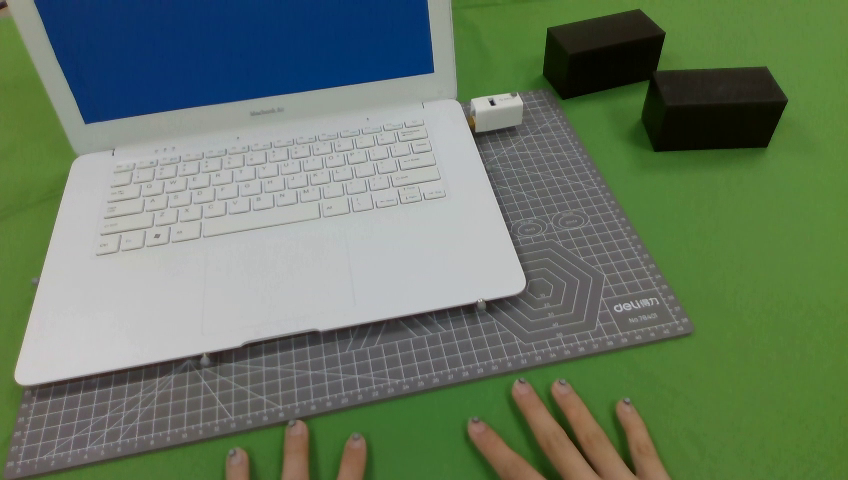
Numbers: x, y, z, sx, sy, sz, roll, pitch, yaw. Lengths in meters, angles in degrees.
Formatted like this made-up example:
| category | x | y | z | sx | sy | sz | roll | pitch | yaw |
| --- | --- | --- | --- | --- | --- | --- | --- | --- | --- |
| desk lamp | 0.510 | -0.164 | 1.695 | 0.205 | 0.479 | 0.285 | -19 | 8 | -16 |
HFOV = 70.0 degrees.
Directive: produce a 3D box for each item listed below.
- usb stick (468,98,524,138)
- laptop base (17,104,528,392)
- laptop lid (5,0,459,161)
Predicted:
| category | x | y | z | sx | sy | sz | roll | pitch | yaw |
| --- | --- | --- | --- | --- | --- | --- | --- | --- | --- |
| usb stick | 0.060 | -0.111 | 0.554 | 0.059 | 0.027 | 0.021 | -12 | 49 | -4 |
| laptop base | -0.117 | -0.011 | 0.491 | 0.355 | 0.023 | 0.233 | -10 | 51 | -5 |
| laptop lid | -0.150 | -0.194 | 0.503 | 0.357 | 0.244 | 0.013 | -11 | 34 | -5 |
